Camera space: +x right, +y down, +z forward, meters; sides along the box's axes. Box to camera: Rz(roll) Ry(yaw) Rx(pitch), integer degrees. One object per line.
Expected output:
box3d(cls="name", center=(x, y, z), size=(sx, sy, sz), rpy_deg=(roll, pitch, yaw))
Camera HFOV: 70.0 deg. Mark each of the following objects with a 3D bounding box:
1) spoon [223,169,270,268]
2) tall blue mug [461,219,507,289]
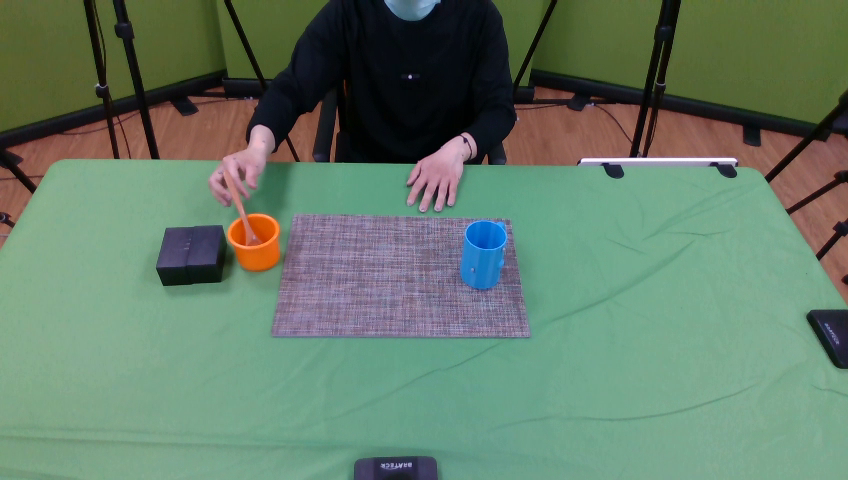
box3d(cls="spoon", center=(-0.333, -0.040, 1.124), size=(0.041, 0.194, 0.021), rpy_deg=(-20, 7, -17))
box3d(cls="tall blue mug", center=(0.111, 0.016, 1.122), size=(0.078, 0.108, 0.106), rpy_deg=(6, 46, 4))
